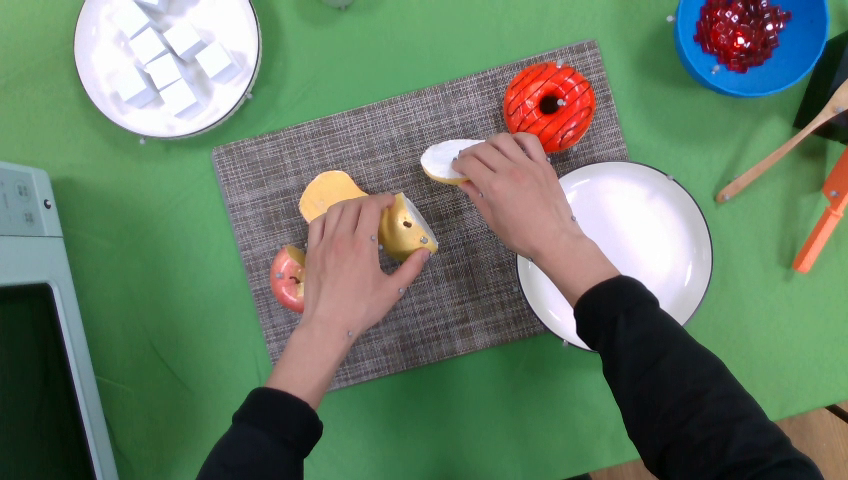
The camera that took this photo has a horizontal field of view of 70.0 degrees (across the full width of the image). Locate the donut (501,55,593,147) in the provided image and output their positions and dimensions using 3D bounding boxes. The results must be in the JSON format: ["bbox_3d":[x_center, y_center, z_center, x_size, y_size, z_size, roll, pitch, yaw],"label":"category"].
[{"bbox_3d":[0.132,-0.150,0.657,0.099,0.048,0.099,0,93,4],"label":"donut"}]

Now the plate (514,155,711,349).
[{"bbox_3d":[0.201,0.013,0.660,0.209,0.038,0.209,0,91,2],"label":"plate"}]

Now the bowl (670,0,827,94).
[{"bbox_3d":[0.325,-0.222,0.637,0.151,0.077,0.151,0,91,2],"label":"bowl"}]

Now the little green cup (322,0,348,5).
[{"bbox_3d":[-0.101,-0.293,0.669,0.061,0.038,0.061,0,90,2],"label":"little green cup"}]

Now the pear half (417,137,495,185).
[{"bbox_3d":[0.035,-0.082,0.652,0.088,0.031,0.069,-16,55,-24],"label":"pear half"}]

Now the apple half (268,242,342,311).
[{"bbox_3d":[-0.134,0.046,0.653,0.081,0.074,0.053,39,96,-3],"label":"apple half"}]

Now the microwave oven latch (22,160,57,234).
[{"bbox_3d":[-0.429,-0.046,0.664,0.030,0.029,0.079,-11,91,1],"label":"microwave oven latch"}]

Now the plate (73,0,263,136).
[{"bbox_3d":[-0.279,-0.217,0.675,0.207,0.039,0.207,0,91,2],"label":"plate"}]

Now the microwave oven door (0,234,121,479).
[{"bbox_3d":[-0.386,0.169,0.564,0.039,0.244,0.355,-13,90,2],"label":"microwave oven door"}]

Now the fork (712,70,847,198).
[{"bbox_3d":[0.389,-0.115,0.631,0.028,0.018,0.207,42,112,-7],"label":"fork"}]

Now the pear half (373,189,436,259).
[{"bbox_3d":[-0.026,-0.012,0.631,0.056,0.110,0.076,-39,85,1],"label":"pear half"}]

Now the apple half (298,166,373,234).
[{"bbox_3d":[-0.100,-0.038,0.667,0.081,0.033,0.080,4,69,-11],"label":"apple half"}]

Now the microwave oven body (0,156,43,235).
[{"bbox_3d":[-0.537,0.160,0.574,0.326,0.260,0.441,-13,91,1],"label":"microwave oven body"}]

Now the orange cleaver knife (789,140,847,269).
[{"bbox_3d":[0.439,-0.069,0.633,0.012,0.077,0.212,21,117,7],"label":"orange cleaver knife"}]
